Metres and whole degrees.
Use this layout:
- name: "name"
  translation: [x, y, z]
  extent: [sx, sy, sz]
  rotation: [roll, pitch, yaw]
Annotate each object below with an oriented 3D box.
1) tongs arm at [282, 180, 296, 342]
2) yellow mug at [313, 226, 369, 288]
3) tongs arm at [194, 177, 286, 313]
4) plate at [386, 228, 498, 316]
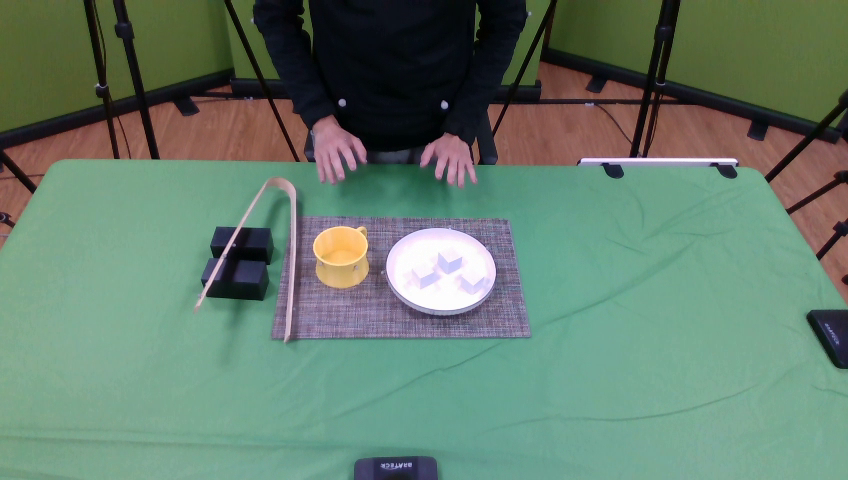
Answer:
- name: "tongs arm"
  translation: [-0.256, 0.026, 1.141]
  extent: [0.028, 0.028, 0.385]
  rotation: [12, 43, -23]
- name: "yellow mug"
  translation: [-0.146, 0.021, 1.132]
  extent: [0.099, 0.064, 0.130]
  rotation: [24, 49, 19]
- name: "tongs arm"
  translation: [-0.328, -0.004, 1.113]
  extent: [0.051, 0.026, 0.382]
  rotation: [24, 38, -15]
- name: "plate"
  translation: [0.032, 0.062, 1.126]
  extent: [0.208, 0.039, 0.206]
  rotation: [2, 46, -2]
